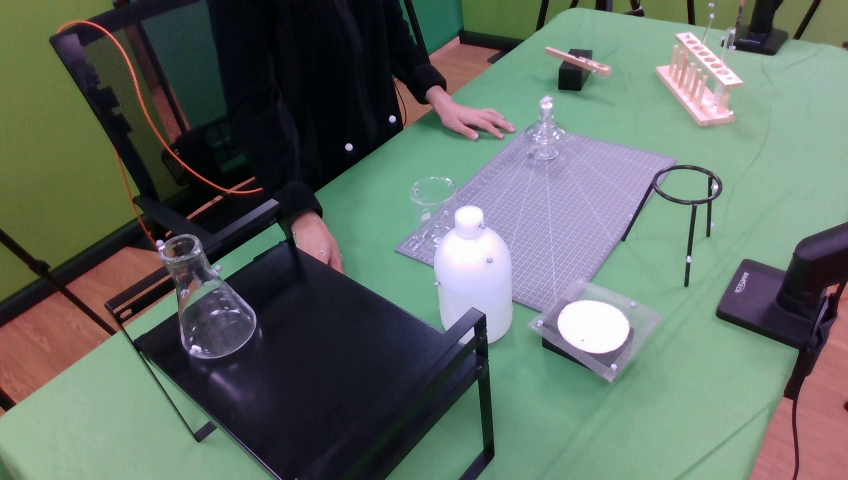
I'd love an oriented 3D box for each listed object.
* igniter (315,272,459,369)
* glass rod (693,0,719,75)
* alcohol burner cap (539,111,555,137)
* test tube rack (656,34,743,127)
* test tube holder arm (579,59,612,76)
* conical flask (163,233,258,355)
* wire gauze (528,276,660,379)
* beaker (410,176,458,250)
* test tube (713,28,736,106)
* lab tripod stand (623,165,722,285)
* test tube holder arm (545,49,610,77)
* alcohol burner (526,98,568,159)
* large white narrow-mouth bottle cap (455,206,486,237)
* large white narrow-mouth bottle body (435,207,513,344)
[{"bbox_3d":[-0.064,0.107,0.861,0.274,0.025,0.057,26,37,35],"label":"igniter"},{"bbox_3d":[0.561,-0.401,1.214,0.008,0.200,0.008,-1,48,2],"label":"glass rod"},{"bbox_3d":[0.244,-0.232,1.197,0.034,0.048,0.033,-4,40,4],"label":"alcohol burner cap"},{"bbox_3d":[0.553,-0.330,1.233,0.067,0.085,0.241,-7,40,2],"label":"test tube rack"},{"bbox_3d":[0.363,-0.368,1.289,0.010,0.015,0.087,-26,43,-30],"label":"test tube holder arm"},{"bbox_3d":[-0.217,0.051,0.601,0.075,0.122,0.075,-4,40,4],"label":"conical flask"},{"bbox_3d":[0.213,0.103,0.763,0.124,0.011,0.122,30,52,35],"label":"wire gauze"},{"bbox_3d":[0.022,-0.041,0.963,0.073,0.101,0.084,28,51,35],"label":"beaker"},{"bbox_3d":[0.570,-0.325,1.149,0.017,0.151,0.017,-4,36,4],"label":"test tube"},{"bbox_3d":[0.365,-0.030,0.875,0.148,0.132,0.147,-6,41,6],"label":"lab tripod stand"},{"bbox_3d":[0.330,-0.387,1.314,0.013,0.015,0.177,-26,43,-29],"label":"test tube holder arm"},{"bbox_3d":[0.228,-0.210,1.118,0.078,0.119,0.077,-5,43,5],"label":"alcohol burner"},{"bbox_3d":[0.057,-0.023,0.734,0.038,0.024,0.037,-4,40,4],"label":"large white narrow-mouth bottle cap"},{"bbox_3d":[0.065,0.041,0.791,0.102,0.195,0.101,-4,41,4],"label":"large white narrow-mouth bottle body"}]
